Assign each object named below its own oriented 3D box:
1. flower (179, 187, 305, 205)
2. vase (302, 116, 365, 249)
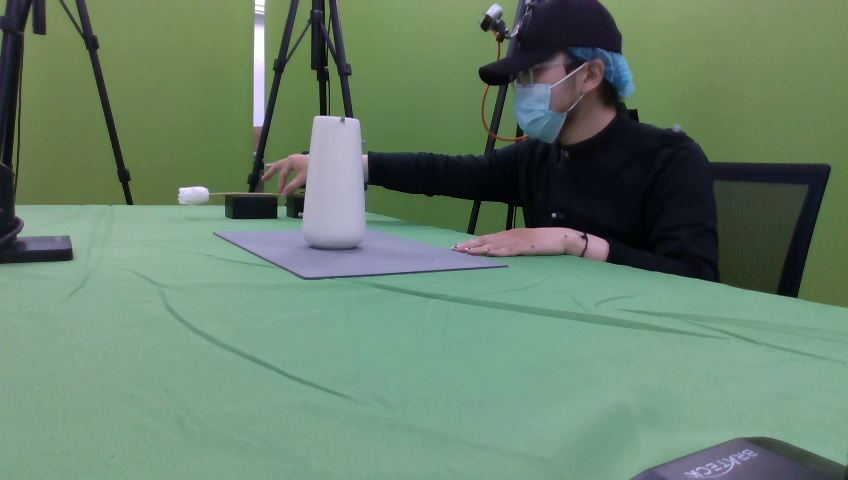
[{"bbox_3d":[-0.361,-0.110,1.365,0.364,0.038,0.044,-7,-6,-33],"label":"flower"},{"bbox_3d":[-0.139,-0.088,0.930,0.098,0.200,0.098,1,9,0],"label":"vase"}]
